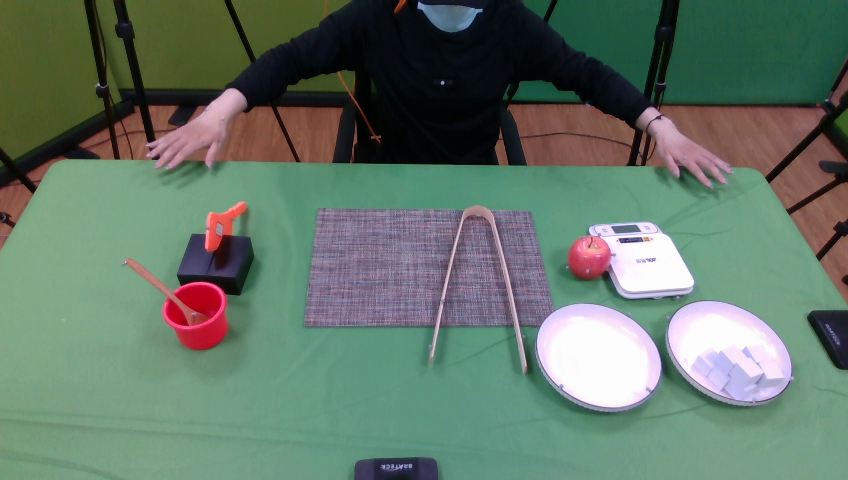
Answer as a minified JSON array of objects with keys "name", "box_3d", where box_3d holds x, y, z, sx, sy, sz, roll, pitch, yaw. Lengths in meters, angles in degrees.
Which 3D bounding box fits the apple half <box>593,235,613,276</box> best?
[{"name":"apple half","box_3d":[0.340,0.029,1.155,0.033,0.082,0.080,-10,47,-8]}]

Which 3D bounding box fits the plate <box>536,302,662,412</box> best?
[{"name":"plate","box_3d":[0.288,0.197,1.016,0.209,0.038,0.208,2,46,-2]}]

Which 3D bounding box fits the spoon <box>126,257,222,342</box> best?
[{"name":"spoon","box_3d":[-0.408,0.096,0.990,0.194,0.021,0.041,50,53,-18]}]

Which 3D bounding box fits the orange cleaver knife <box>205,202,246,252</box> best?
[{"name":"orange cleaver knife","box_3d":[-0.374,-0.029,1.150,0.012,0.077,0.211,4,13,0]}]

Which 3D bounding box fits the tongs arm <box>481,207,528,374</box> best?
[{"name":"tongs arm","box_3d":[0.149,0.077,1.123,0.028,0.028,0.385,-4,46,-2]}]

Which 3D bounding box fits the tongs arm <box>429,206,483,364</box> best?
[{"name":"tongs arm","box_3d":[0.064,0.069,1.124,0.051,0.026,0.382,8,45,5]}]

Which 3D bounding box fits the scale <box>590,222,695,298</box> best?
[{"name":"scale","box_3d":[0.424,0.031,1.189,0.149,0.032,0.199,-3,46,-7]}]

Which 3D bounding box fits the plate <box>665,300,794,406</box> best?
[{"name":"plate","box_3d":[0.513,0.194,1.034,0.208,0.039,0.206,2,46,-2]}]

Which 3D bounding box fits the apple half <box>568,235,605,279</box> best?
[{"name":"apple half","box_3d":[0.302,0.035,1.148,0.053,0.075,0.080,-9,51,-8]}]
